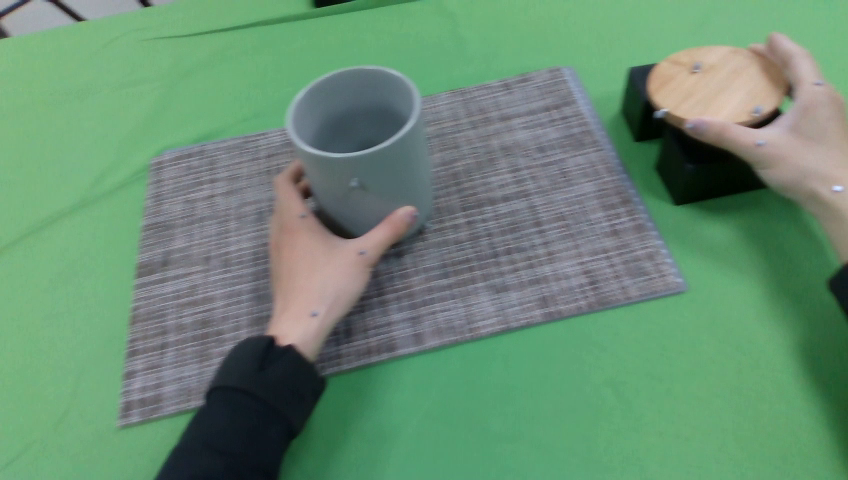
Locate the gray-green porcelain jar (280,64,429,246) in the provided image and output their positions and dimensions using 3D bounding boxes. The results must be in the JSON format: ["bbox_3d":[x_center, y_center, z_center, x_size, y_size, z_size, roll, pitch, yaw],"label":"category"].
[{"bbox_3d":[-0.052,-0.065,0.513,0.106,0.128,0.105,-4,53,5],"label":"gray-green porcelain jar"}]

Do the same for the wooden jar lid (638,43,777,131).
[{"bbox_3d":[0.240,-0.130,0.519,0.108,0.021,0.107,-6,51,8],"label":"wooden jar lid"}]
